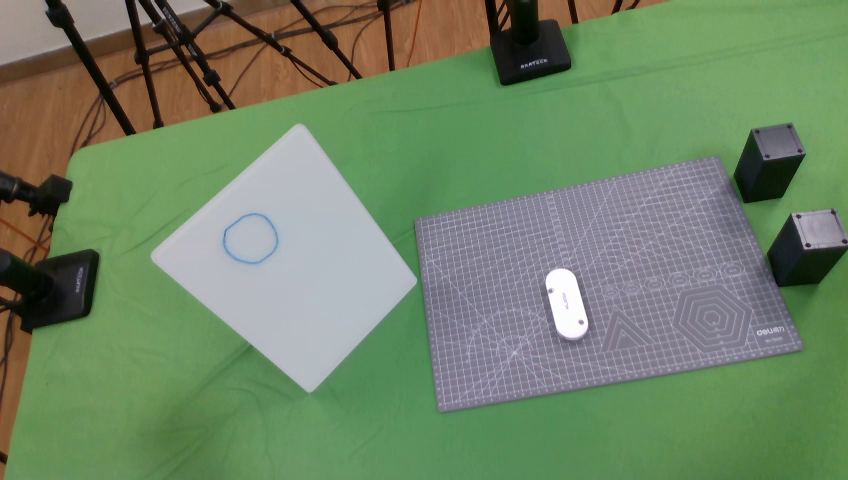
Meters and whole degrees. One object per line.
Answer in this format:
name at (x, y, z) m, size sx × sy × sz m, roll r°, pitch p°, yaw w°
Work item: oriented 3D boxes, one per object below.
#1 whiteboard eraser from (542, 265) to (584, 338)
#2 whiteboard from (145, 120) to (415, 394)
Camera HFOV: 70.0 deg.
whiteboard eraser at (0.182, 0.079, 0.800) m, size 0.041 × 0.019 × 0.100 m, roll -11°, pitch 61°, yaw 5°
whiteboard at (-0.189, 0.014, 0.792) m, size 0.217 × 0.309 × 0.142 m, roll -46°, pitch 42°, yaw -13°
